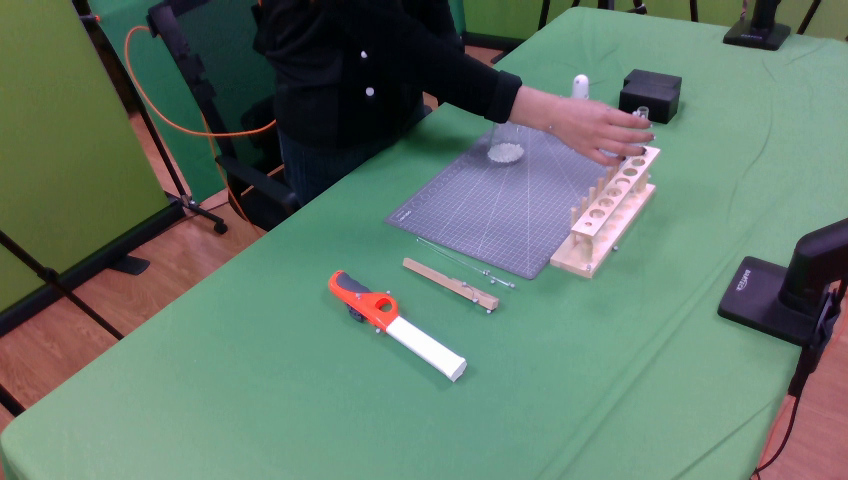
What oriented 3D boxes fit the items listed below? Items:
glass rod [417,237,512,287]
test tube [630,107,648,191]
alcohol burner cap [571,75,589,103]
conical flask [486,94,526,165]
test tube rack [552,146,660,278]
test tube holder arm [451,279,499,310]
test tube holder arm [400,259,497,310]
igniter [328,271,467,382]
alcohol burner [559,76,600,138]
[{"bbox_3d":[0.059,0.032,0.945,0.198,0.008,0.008,27,52,38],"label":"glass rod"},{"bbox_3d":[0.330,-0.137,0.934,0.017,0.151,0.017,-6,42,5],"label":"test tube"},{"bbox_3d":[0.294,-0.284,1.132,0.034,0.048,0.033,-5,46,5],"label":"alcohol burner cap"},{"bbox_3d":[0.150,-0.207,1.118,0.075,0.122,0.075,-6,40,5],"label":"conical flask"},{"bbox_3d":[0.286,-0.053,0.943,0.066,0.085,0.243,21,49,32],"label":"test tube rack"},{"bbox_3d":[0.071,0.079,0.882,0.087,0.015,0.010,24,13,34],"label":"test tube holder arm"},{"bbox_3d":[0.033,0.064,0.902,0.177,0.015,0.013,23,13,32],"label":"test tube holder arm"},{"bbox_3d":[-0.049,0.114,0.854,0.274,0.025,0.057,29,63,37],"label":"igniter"},{"bbox_3d":[0.298,-0.258,1.156,0.078,0.119,0.077,-4,39,4],"label":"alcohol burner"}]
